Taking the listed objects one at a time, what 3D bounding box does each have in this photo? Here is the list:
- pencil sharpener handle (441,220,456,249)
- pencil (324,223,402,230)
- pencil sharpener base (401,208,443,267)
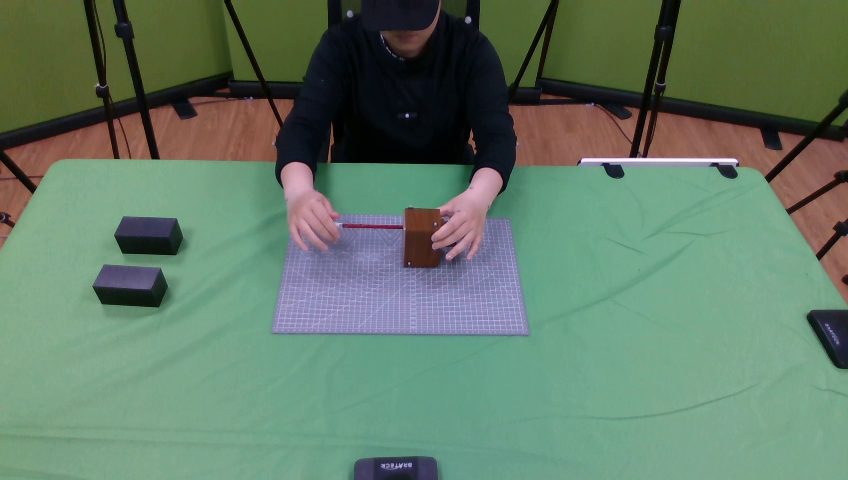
[{"bbox_3d":[0.047,-0.010,1.131,0.031,0.068,0.036,1,43,-4],"label":"pencil sharpener handle"},{"bbox_3d":[-0.085,-0.025,1.113,0.194,0.012,0.012,0,46,-6],"label":"pencil"},{"bbox_3d":[-0.004,-0.003,1.137,0.077,0.107,0.061,1,45,-4],"label":"pencil sharpener base"}]
